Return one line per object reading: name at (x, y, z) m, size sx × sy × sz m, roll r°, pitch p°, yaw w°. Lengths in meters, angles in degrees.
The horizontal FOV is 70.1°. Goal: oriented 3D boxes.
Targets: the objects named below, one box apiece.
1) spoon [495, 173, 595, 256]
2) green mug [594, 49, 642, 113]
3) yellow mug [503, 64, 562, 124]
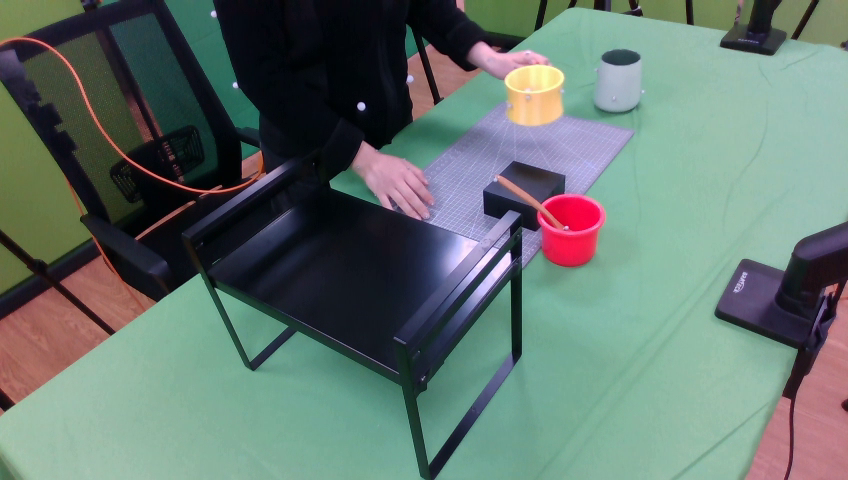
spoon at (0.181, -0.040, 0.902) m, size 0.194 × 0.021 × 0.041 m, roll 40°, pitch 48°, yaw -14°
green mug at (0.397, -0.333, 1.240) m, size 0.092 × 0.105 × 0.125 m, roll -3°, pitch 41°, yaw 7°
yellow mug at (0.193, -0.267, 1.071) m, size 0.099 × 0.064 × 0.130 m, roll 2°, pitch 41°, yaw 13°
